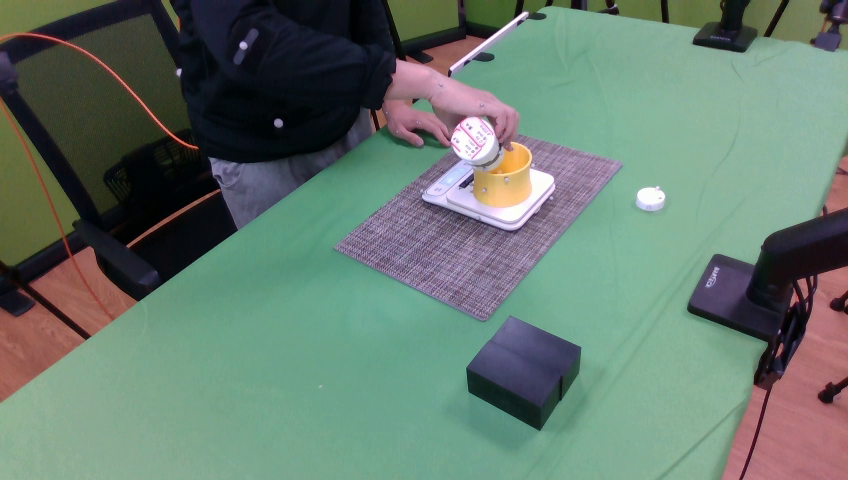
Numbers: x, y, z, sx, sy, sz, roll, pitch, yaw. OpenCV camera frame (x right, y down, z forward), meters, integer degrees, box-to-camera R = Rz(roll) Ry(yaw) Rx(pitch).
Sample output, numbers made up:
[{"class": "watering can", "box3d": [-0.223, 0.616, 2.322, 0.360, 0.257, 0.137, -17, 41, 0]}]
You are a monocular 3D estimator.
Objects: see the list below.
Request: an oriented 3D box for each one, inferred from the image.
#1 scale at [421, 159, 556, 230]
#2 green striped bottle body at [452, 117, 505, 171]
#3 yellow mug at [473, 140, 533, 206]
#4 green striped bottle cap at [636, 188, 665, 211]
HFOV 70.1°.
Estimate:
[{"class": "scale", "box3d": [0.110, -0.089, 1.042, 0.199, 0.032, 0.149, 23, 48, 31]}, {"class": "green striped bottle body", "box3d": [0.085, -0.139, 0.901, 0.063, 0.063, 0.120, 7, -1, 16]}, {"class": "yellow mug", "box3d": [0.125, -0.121, 1.004, 0.100, 0.064, 0.130, -13, 41, -5]}, {"class": "green striped bottle cap", "box3d": [0.374, -0.067, 0.998, 0.044, 0.020, 0.044, -6, 39, 5]}]
